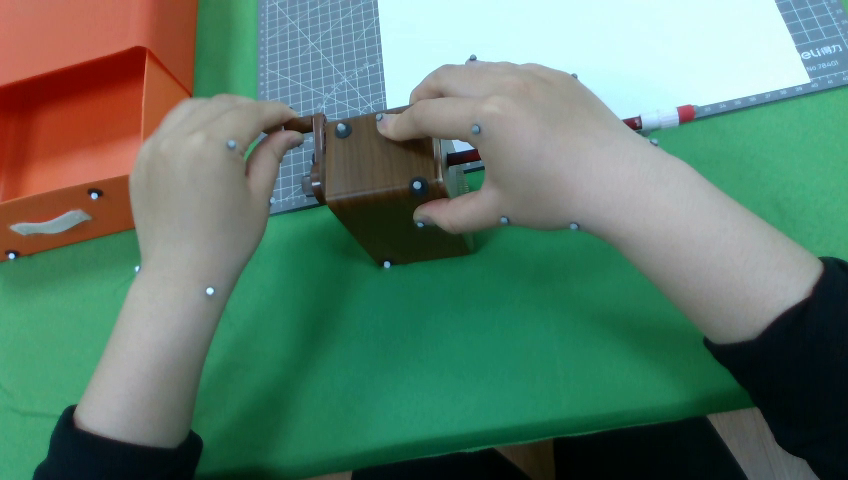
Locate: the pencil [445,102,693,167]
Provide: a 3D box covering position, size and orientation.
[{"bbox_3d":[0.055,-0.055,0.352,0.194,0.012,0.012,-11,65,9],"label":"pencil"}]

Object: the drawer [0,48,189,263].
[{"bbox_3d":[-0.303,-0.100,0.515,0.194,0.074,0.210,-13,64,9],"label":"drawer"}]

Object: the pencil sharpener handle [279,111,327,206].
[{"bbox_3d":[-0.074,-0.048,0.383,0.030,0.036,0.067,-10,75,11],"label":"pencil sharpener handle"}]

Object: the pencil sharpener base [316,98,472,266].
[{"bbox_3d":[-0.016,-0.032,0.395,0.076,0.108,0.061,-10,65,11],"label":"pencil sharpener base"}]

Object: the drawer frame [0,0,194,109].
[{"bbox_3d":[-0.320,-0.207,0.561,0.201,0.083,0.211,-13,64,9],"label":"drawer frame"}]
